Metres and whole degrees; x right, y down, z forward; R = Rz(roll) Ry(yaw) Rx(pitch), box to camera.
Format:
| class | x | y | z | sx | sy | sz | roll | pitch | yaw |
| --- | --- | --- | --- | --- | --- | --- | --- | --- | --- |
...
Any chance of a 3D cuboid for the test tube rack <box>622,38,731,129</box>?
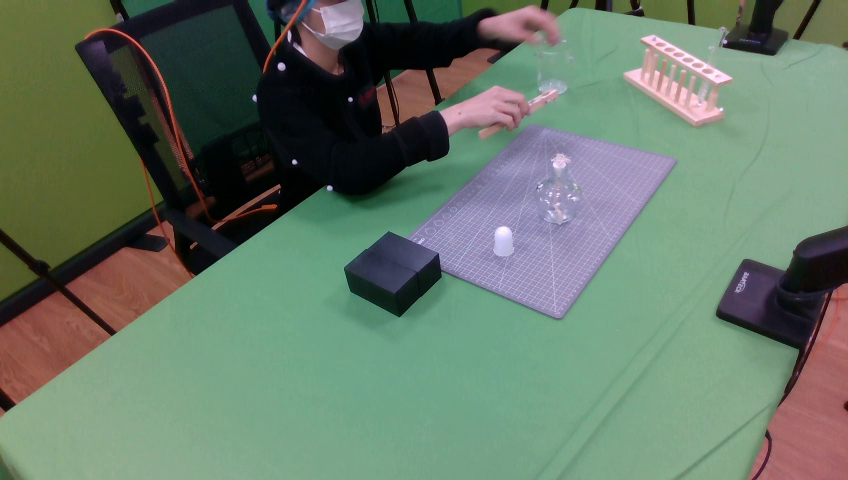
| class | x | y | z | sx | sy | sz | roll | pitch | yaw |
| --- | --- | --- | --- | --- | --- | --- | --- | --- | --- |
| test tube rack | 0.506 | -0.325 | 1.234 | 0.067 | 0.085 | 0.240 | -18 | 41 | -11 |

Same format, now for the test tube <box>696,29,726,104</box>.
| class | x | y | z | sx | sy | sz | roll | pitch | yaw |
| --- | --- | --- | --- | --- | --- | --- | --- | --- | --- |
| test tube | 0.544 | -0.326 | 1.150 | 0.017 | 0.151 | 0.017 | -1 | 42 | 1 |

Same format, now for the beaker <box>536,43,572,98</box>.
| class | x | y | z | sx | sy | sz | roll | pitch | yaw |
| --- | --- | --- | --- | --- | --- | --- | --- | --- | --- |
| beaker | 0.281 | -0.367 | 1.311 | 0.074 | 0.101 | 0.084 | 4 | 41 | 14 |

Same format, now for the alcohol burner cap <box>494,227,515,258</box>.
| class | x | y | z | sx | sy | sz | roll | pitch | yaw |
| --- | --- | --- | --- | --- | --- | --- | --- | --- | --- |
| alcohol burner cap | 0.124 | 0.001 | 0.936 | 0.034 | 0.048 | 0.033 | -4 | 40 | 4 |

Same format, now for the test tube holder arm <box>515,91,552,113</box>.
| class | x | y | z | sx | sy | sz | roll | pitch | yaw |
| --- | --- | --- | --- | --- | --- | --- | --- | --- | --- |
| test tube holder arm | 0.202 | -0.246 | 1.100 | 0.088 | 0.015 | 0.010 | -33 | 31 | -21 |

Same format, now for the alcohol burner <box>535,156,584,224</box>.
| class | x | y | z | sx | sy | sz | roll | pitch | yaw |
| --- | --- | --- | --- | --- | --- | --- | --- | --- | --- |
| alcohol burner | 0.217 | -0.085 | 0.967 | 0.078 | 0.119 | 0.077 | -3 | 41 | 3 |

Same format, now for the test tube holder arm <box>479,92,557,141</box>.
| class | x | y | z | sx | sy | sz | roll | pitch | yaw |
| --- | --- | --- | --- | --- | --- | --- | --- | --- | --- |
| test tube holder arm | 0.169 | -0.222 | 1.079 | 0.179 | 0.015 | 0.013 | -33 | 31 | -21 |
